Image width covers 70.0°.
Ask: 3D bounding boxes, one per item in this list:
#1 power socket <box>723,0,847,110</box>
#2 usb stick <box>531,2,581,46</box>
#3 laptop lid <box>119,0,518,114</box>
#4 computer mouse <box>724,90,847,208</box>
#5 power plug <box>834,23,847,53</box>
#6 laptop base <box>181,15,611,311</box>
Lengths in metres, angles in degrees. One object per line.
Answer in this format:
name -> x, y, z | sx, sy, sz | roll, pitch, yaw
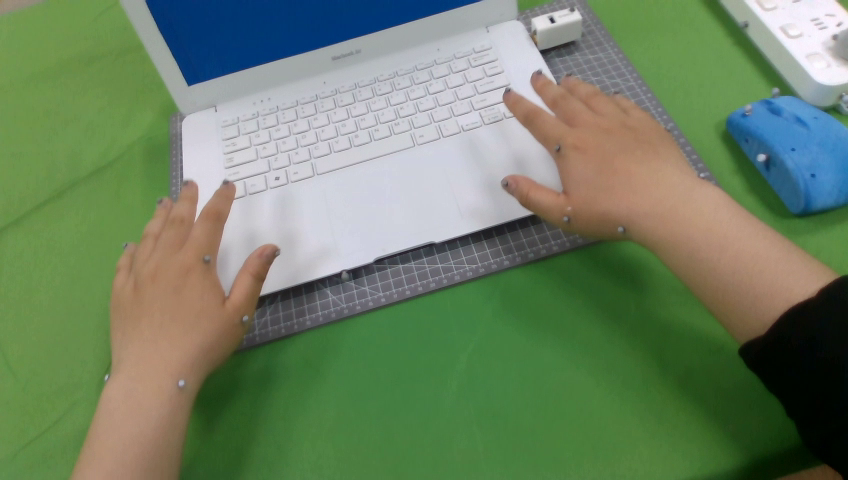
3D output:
power socket -> 0.334, -0.207, 0.551 | 0.072, 0.033, 0.224 | -14, 55, 2
usb stick -> 0.120, -0.206, 0.584 | 0.059, 0.027, 0.021 | -17, 55, 3
laptop lid -> -0.097, -0.257, 0.534 | 0.357, 0.244, 0.013 | -18, 42, 0
computer mouse -> 0.288, -0.077, 0.468 | 0.063, 0.041, 0.116 | -17, 50, 2
power plug -> 0.373, -0.167, 0.490 | 0.072, 0.053, 0.035 | -5, 58, 7
laptop base -> -0.043, -0.081, 0.546 | 0.354, 0.023, 0.233 | -17, 58, -1
